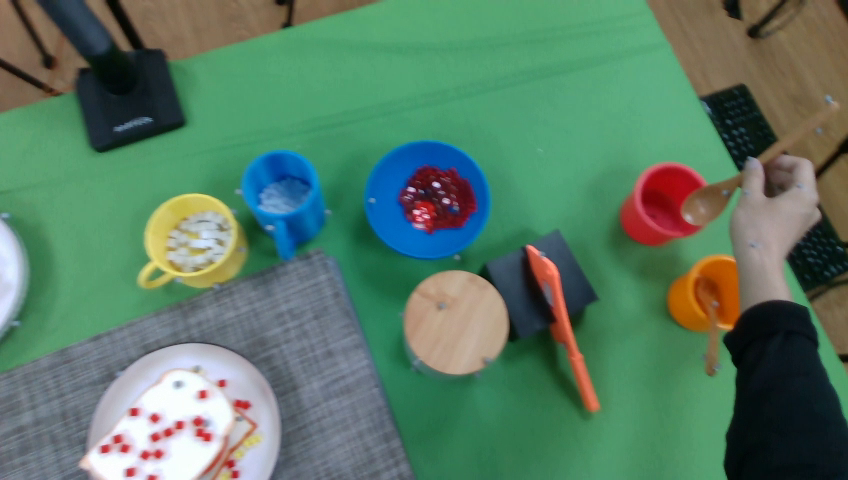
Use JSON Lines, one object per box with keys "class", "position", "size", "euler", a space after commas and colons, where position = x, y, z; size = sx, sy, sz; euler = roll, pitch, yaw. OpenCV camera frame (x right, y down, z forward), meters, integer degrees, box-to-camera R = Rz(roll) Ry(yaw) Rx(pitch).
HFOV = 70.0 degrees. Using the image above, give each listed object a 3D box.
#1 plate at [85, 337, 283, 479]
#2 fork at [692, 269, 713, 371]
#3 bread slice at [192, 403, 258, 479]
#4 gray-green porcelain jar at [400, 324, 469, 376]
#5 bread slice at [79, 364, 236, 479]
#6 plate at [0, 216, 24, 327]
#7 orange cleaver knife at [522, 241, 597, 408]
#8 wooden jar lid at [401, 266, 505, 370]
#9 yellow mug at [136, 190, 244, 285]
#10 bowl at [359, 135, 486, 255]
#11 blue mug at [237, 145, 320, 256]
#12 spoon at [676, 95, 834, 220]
{"class": "plate", "position": [-0.261, 0.213, 0.674], "size": [0.209, 0.038, 0.208], "euler": [1, 75, -4]}
{"class": "fork", "position": [0.326, 0.088, 0.702], "size": [0.028, 0.019, 0.207], "euler": [40, 31, 1]}
{"class": "bread slice", "position": [-0.266, 0.225, 0.674], "size": [0.104, 0.019, 0.131], "euler": [33, 71, 6]}
{"class": "gray-green porcelain jar", "position": [0.026, 0.099, 0.687], "size": [0.106, 0.127, 0.105], "euler": [1, 74, -5]}
{"class": "bread slice", "position": [-0.261, 0.196, 0.617], "size": [0.107, 0.018, 0.134], "euler": [33, 69, -1]}
{"class": "plate", "position": [-0.567, 0.048, 0.697], "size": [0.208, 0.039, 0.206], "euler": [1, 75, -4]}
{"class": "orange cleaver knife", "position": [0.159, 0.100, 0.720], "size": [0.012, 0.076, 0.212], "euler": [-23, 104, -12]}
{"class": "wooden jar lid", "position": [0.030, 0.081, 0.627], "size": [0.108, 0.021, 0.108], "euler": [2, 76, -7]}
{"class": "yellow mug", "position": [-0.283, 0.008, 0.717], "size": [0.131, 0.064, 0.099], "euler": [-43, 81, -13]}
{"class": "bowl", "position": [-0.004, -0.045, 0.749], "size": [0.151, 0.077, 0.150], "euler": [1, 75, -4]}
{"class": "blue mug", "position": [-0.169, -0.038, 0.719], "size": [0.082, 0.106, 0.116], "euler": [-1, 75, -4]}
{"class": "spoon", "position": [0.352, -0.085, 0.654], "size": [0.022, 0.194, 0.041], "euler": [-15, 66, -37]}
